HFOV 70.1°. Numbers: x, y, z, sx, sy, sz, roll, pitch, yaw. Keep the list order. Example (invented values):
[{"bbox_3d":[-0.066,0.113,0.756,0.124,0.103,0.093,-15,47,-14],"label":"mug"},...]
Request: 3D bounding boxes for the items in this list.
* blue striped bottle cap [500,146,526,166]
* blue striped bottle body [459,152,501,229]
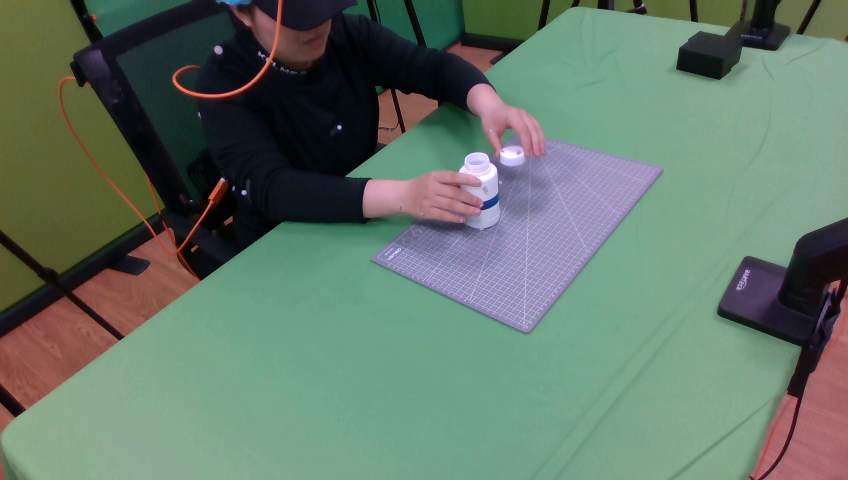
[{"bbox_3d":[0.151,-0.144,1.031,0.044,0.021,0.044,-4,33,3],"label":"blue striped bottle cap"},{"bbox_3d":[0.091,-0.083,0.982,0.063,0.121,0.063,-6,40,5],"label":"blue striped bottle body"}]
